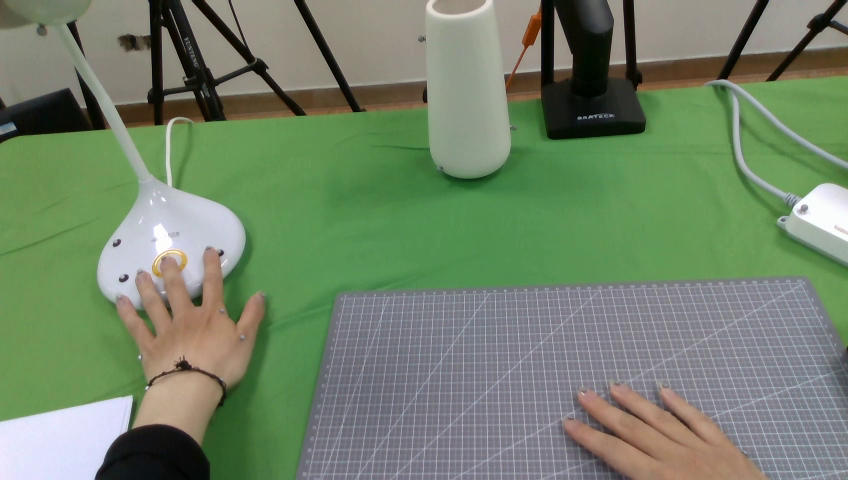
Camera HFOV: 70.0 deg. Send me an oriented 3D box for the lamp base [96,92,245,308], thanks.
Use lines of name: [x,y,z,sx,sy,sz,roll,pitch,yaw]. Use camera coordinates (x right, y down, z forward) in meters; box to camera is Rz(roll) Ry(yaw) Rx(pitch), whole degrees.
lamp base: [-0.294,-0.050,0.626,0.161,0.182,0.177,-25,43,-16]

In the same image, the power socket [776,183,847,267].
power socket: [0.443,0.016,0.548,0.072,0.033,0.224,-31,47,-22]

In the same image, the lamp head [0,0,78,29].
lamp head: [-0.285,-0.220,0.400,0.112,0.123,0.112,-38,9,8]

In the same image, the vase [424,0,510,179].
vase: [0.047,-0.167,0.681,0.098,0.202,0.097,-4,43,4]
